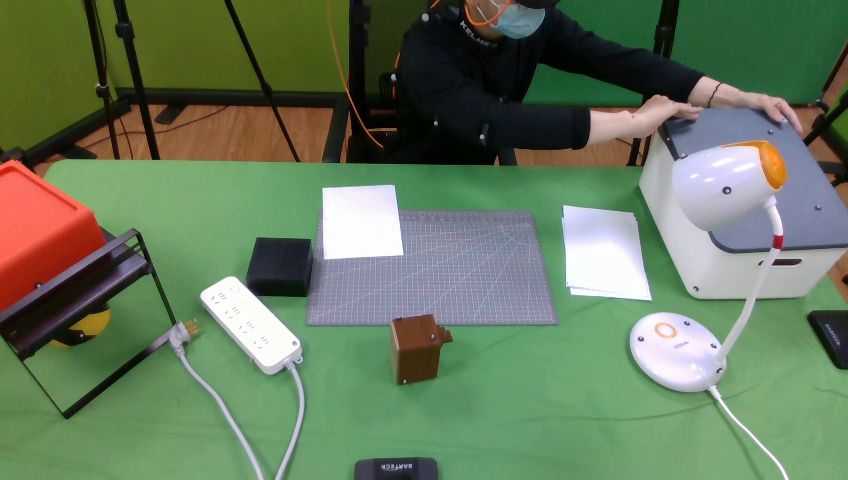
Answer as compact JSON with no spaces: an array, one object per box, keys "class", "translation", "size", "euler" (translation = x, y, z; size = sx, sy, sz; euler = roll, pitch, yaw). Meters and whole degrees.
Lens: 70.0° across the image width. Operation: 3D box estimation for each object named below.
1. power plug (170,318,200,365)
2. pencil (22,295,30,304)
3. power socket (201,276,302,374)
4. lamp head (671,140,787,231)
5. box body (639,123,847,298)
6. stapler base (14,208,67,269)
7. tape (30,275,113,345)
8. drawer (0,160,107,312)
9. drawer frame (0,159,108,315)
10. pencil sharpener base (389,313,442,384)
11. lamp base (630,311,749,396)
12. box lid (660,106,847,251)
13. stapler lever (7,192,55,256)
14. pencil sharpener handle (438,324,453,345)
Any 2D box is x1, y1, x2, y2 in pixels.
[{"class":"power plug","translation":[-0.392,0.167,1.014],"size":[0.052,0.035,0.072],"euler":[-30,91,-23]},{"class":"pencil","translation":[-0.590,0.011,0.883],"size":[0.012,0.012,0.193],"euler":[-17,61,-20]},{"class":"power socket","translation":[-0.297,0.141,1.034],"size":[0.072,0.033,0.225],"euler":[-34,58,-30]},{"class":"lamp head","translation":[0.415,-0.078,0.811],"size":[0.113,0.123,0.112],"euler":[12,70,-37]},{"class":"box body","translation":[0.609,-0.062,1.204],"size":[0.254,0.161,0.361],"euler":[-1,46,-4]},{"class":"stapler base","translation":[-0.577,-0.010,0.903],"size":[0.041,0.024,0.130],"euler":[-31,57,-25]},{"class":"tape","translation":[-0.593,0.117,1.021],"size":[0.117,0.053,0.116],"euler":[3,46,-2]},{"class":"drawer","translation":[-0.610,-0.001,0.866],"size":[0.194,0.073,0.211],"euler":[29,52,21]},{"class":"drawer frame","translation":[-0.611,0.000,0.863],"size":[0.201,0.083,0.213],"euler":[27,51,20]},{"class":"pencil sharpener base","translation":[-0.013,0.175,0.971],"size":[0.077,0.107,0.061],"euler":[-8,47,-11]},{"class":"lamp base","translation":[0.447,0.143,0.983],"size":[0.161,0.181,0.178],"euler":[-24,55,-24]},{"class":"box lid","translation":[0.614,-0.129,1.133],"size":[0.263,0.015,0.369],"euler":[-2,51,-2]},{"class":"stapler lever","translation":[-0.575,-0.026,0.885],"size":[0.027,0.040,0.117],"euler":[-31,56,-25]},{"class":"pencil sharpener handle","translation":[0.036,0.155,0.976],"size":[0.031,0.068,0.036],"euler":[-8,69,-11]}]
